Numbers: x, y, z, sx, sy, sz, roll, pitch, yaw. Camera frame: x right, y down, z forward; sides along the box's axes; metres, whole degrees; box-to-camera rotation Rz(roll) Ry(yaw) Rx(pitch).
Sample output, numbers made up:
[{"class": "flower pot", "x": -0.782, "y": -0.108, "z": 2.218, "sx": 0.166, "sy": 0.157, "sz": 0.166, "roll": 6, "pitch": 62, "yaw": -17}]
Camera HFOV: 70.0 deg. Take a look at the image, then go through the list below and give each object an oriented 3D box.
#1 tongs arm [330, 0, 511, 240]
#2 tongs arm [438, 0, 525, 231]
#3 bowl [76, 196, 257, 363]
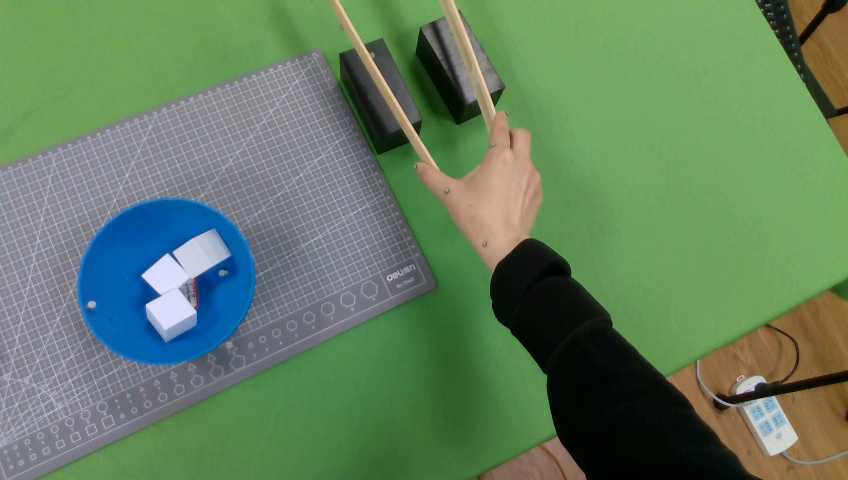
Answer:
[{"class": "tongs arm", "x": -0.028, "y": -0.165, "z": 0.598, "sx": 0.051, "sy": 0.026, "sz": 0.383, "roll": -25, "pitch": 82, "yaw": -16}, {"class": "tongs arm", "x": 0.033, "y": -0.190, "z": 0.614, "sx": 0.028, "sy": 0.028, "sz": 0.386, "roll": -16, "pitch": 80, "yaw": -18}, {"class": "bowl", "x": -0.230, "y": 0.041, "z": 0.571, "sx": 0.152, "sy": 0.077, "sz": 0.150, "roll": 2, "pitch": 78, "yaw": -7}]
